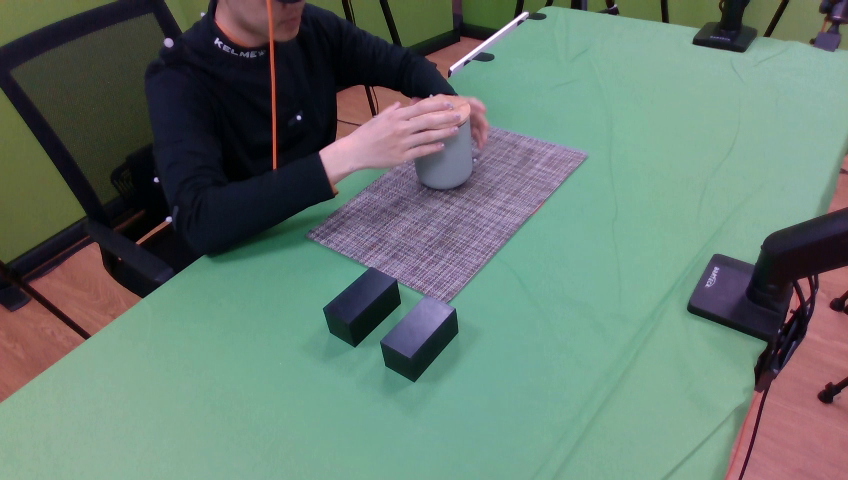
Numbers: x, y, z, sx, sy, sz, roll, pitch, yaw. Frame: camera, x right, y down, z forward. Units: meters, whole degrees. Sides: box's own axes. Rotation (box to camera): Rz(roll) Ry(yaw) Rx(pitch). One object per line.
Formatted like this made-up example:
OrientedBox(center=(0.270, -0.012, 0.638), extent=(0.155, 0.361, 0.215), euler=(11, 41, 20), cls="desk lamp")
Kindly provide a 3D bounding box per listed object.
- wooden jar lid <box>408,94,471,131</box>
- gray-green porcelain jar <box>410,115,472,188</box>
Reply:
OrientedBox(center=(0.026, -0.212, 1.026), extent=(0.108, 0.021, 0.108), euler=(-6, 42, 6), cls="wooden jar lid")
OrientedBox(center=(0.032, -0.164, 1.067), extent=(0.106, 0.127, 0.105), euler=(-3, 42, 3), cls="gray-green porcelain jar")
